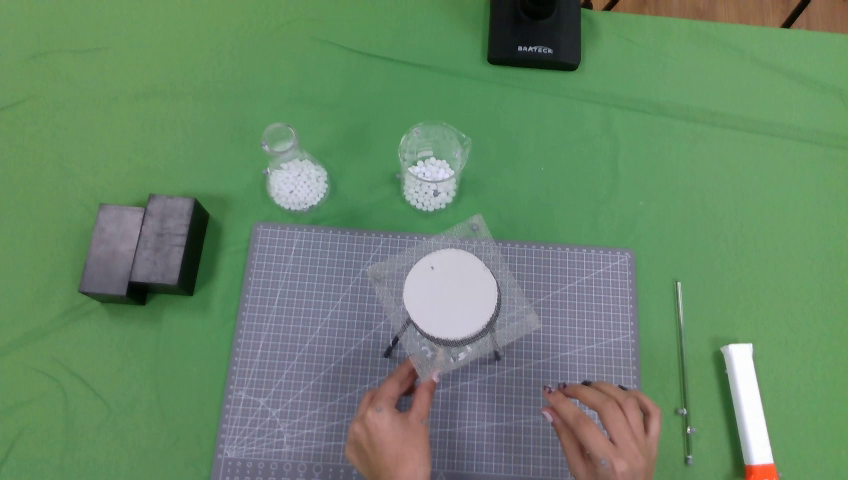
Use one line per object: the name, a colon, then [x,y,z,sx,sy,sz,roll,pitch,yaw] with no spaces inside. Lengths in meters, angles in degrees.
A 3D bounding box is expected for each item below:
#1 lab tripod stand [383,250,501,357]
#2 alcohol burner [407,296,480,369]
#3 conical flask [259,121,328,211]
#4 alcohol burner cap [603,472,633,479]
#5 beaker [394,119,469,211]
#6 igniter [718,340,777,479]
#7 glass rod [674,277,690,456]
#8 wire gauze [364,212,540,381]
lab tripod stand: [0.021,0.074,0.618,0.148,0.132,0.147,1,74,-2]
alcohol burner: [0.022,0.092,0.623,0.078,0.119,0.077,1,71,-3]
conical flask: [-0.150,-0.086,0.670,0.075,0.122,0.075,1,72,-2]
alcohol burner cap: [0.204,0.256,0.618,0.034,0.048,0.033,1,73,-1]
beaker: [0.007,-0.082,0.688,0.084,0.101,0.073,-22,74,-10]
igniter: [0.352,0.244,0.639,0.057,0.025,0.275,1,72,-13]
glass rod: [0.289,0.137,0.680,0.008,0.008,0.198,5,72,-1]
wire gauze: [0.025,0.050,0.556,0.125,0.011,0.121,-25,76,-9]
